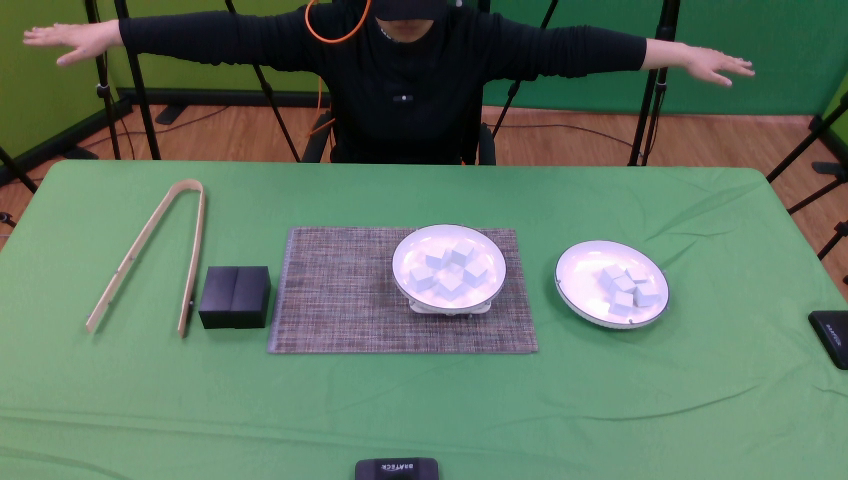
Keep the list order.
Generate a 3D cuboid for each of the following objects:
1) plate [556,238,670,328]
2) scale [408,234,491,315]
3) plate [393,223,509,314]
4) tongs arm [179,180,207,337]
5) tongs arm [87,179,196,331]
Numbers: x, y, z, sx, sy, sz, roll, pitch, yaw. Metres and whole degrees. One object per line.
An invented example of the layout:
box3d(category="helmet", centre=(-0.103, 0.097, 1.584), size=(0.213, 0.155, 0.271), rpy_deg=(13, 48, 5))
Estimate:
box3d(category="plate", centre=(0.347, 0.083, 1.130), size=(0.209, 0.038, 0.208), rpy_deg=(2, 47, -2))
box3d(category="scale", centre=(0.045, 0.055, 1.135), size=(0.149, 0.032, 0.199), rpy_deg=(1, 46, -3))
box3d(category="plate", centre=(0.048, 0.053, 1.091), size=(0.208, 0.039, 0.206), rpy_deg=(1, 46, -1))
box3d(category="tongs arm", centre=(-0.437, 0.019, 1.144), size=(0.028, 0.028, 0.385), rpy_deg=(-6, 47, -6))
box3d(category="tongs arm", centre=(-0.517, 0.014, 1.137), size=(0.051, 0.026, 0.382), rpy_deg=(6, 45, 0))
